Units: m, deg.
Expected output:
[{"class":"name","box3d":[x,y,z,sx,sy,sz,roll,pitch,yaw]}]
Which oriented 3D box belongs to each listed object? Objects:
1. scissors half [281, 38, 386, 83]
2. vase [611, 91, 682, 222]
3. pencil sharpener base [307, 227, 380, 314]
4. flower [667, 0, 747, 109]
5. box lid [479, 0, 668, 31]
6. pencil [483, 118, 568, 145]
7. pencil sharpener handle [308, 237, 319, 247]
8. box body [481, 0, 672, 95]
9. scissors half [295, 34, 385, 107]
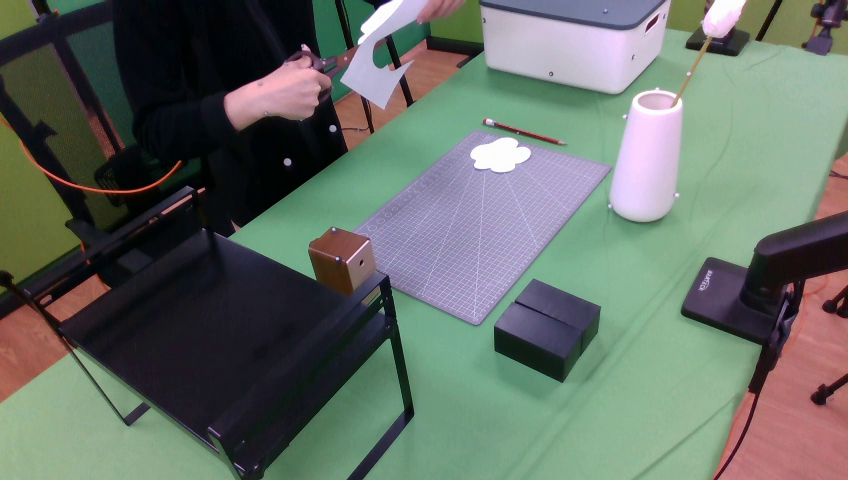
[{"class":"scissors half","box3d":[-0.138,-0.285,0.937,0.176,0.040,0.012,-22,27,-15]},{"class":"vase","box3d":[0.348,-0.125,0.935,0.098,0.201,0.097,-3,40,3]},{"class":"pencil sharpener base","box3d":[-0.116,0.043,0.875,0.076,0.107,0.061,18,47,28]},{"class":"flower","box3d":[0.354,-0.187,0.879,0.038,0.362,0.044,30,48,14]},{"class":"box lid","box3d":[0.335,-0.536,1.331,0.368,0.015,0.264,23,49,30]},{"class":"pencil","box3d":[0.202,-0.217,1.212,0.192,0.012,0.012,24,49,29]},{"class":"pencil sharpener handle","box3d":[-0.159,0.017,0.892,0.030,0.068,0.036,18,61,28]},{"class":"box body","box3d":[0.341,-0.480,1.381,0.361,0.161,0.255,22,48,30]},{"class":"scissors half","box3d":[-0.129,-0.268,0.947,0.175,0.040,0.012,-42,25,-4]}]
